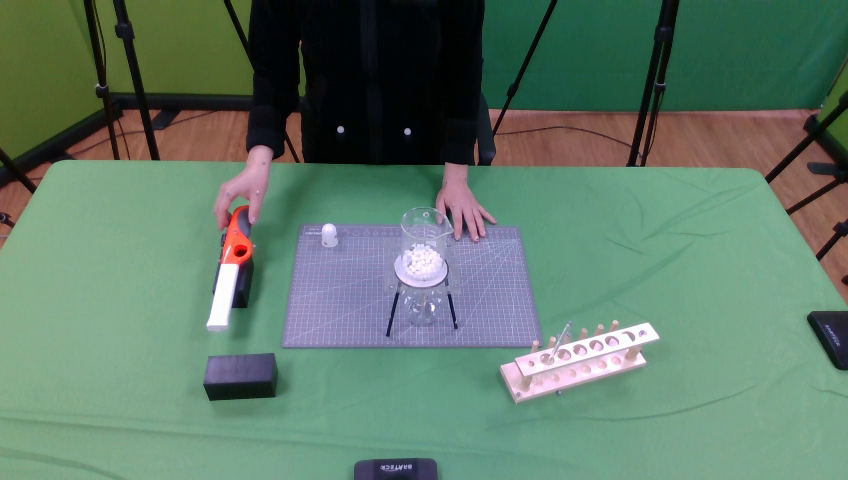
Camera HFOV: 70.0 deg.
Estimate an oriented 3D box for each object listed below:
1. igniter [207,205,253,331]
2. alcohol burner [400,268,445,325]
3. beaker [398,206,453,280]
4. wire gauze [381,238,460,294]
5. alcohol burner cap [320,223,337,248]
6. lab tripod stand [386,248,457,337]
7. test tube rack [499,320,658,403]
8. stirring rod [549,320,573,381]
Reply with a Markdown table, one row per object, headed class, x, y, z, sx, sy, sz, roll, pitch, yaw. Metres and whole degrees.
| class | x | y | z | sx | sy | sz | roll | pitch | yaw |
| --- | --- | --- | --- | --- | --- | --- | --- | --- | --- |
| igniter | -0.339 | 0.038 | 1.066 | 0.057 | 0.025 | 0.274 | 2 | 48 | -6 |
| alcohol burner | -0.003 | 0.092 | 1.042 | 0.078 | 0.120 | 0.077 | 1 | 46 | -1 |
| beaker | 0.000 | 0.008 | 0.950 | 0.084 | 0.101 | 0.073 | 10 | 46 | 6 |
| wire gauze | -0.007 | 0.042 | 0.985 | 0.125 | 0.011 | 0.120 | -1 | 43 | -2 |
| alcohol burner cap | -0.187 | -0.011 | 1.176 | 0.034 | 0.048 | 0.033 | 2 | 46 | -1 |
| lab tripod stand | -0.010 | 0.087 | 1.032 | 0.148 | 0.132 | 0.147 | 1 | 45 | -1 |
| test tube rack | 0.252 | 0.187 | 0.994 | 0.243 | 0.085 | 0.066 | -12 | 48 | -15 |
| stirring rod | 0.202 | 0.168 | 0.901 | 0.006 | 0.177 | 0.014 | -17 | 54 | -11 |
